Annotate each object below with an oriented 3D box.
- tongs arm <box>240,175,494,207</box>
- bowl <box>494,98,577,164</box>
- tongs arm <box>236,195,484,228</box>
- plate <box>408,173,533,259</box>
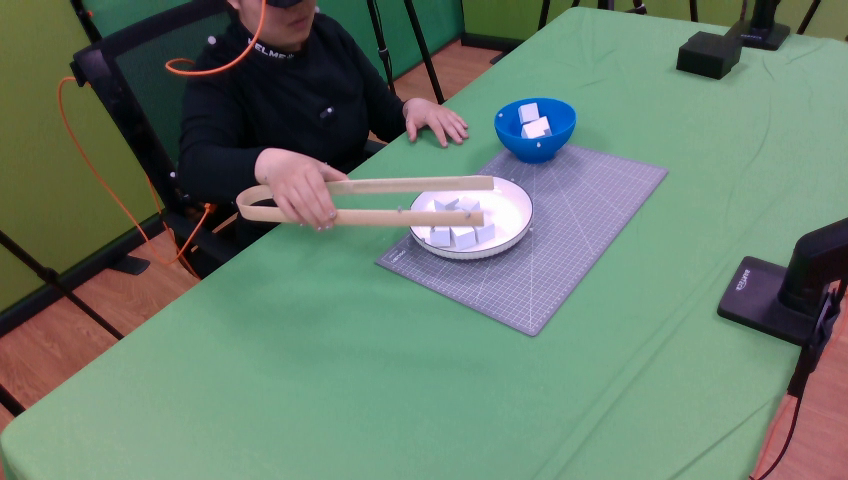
[{"bbox_3d":[-0.089,-0.074,0.903,0.387,0.028,0.028,-2,42,11],"label":"tongs arm"},{"bbox_3d":[0.207,-0.196,1.128,0.151,0.077,0.150,-5,40,5],"label":"bowl"},{"bbox_3d":[-0.101,-0.043,0.864,0.383,0.026,0.050,0,39,15],"label":"tongs arm"},{"bbox_3d":[0.076,-0.037,0.997,0.207,0.039,0.206,-5,40,5],"label":"plate"}]
